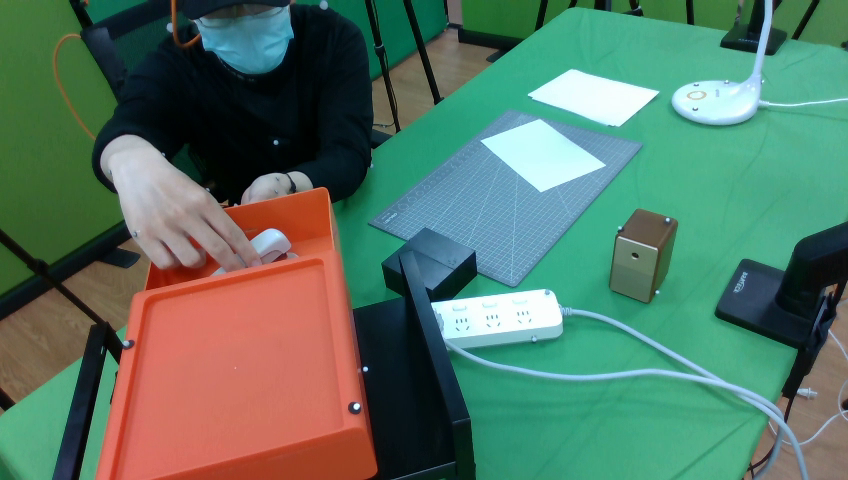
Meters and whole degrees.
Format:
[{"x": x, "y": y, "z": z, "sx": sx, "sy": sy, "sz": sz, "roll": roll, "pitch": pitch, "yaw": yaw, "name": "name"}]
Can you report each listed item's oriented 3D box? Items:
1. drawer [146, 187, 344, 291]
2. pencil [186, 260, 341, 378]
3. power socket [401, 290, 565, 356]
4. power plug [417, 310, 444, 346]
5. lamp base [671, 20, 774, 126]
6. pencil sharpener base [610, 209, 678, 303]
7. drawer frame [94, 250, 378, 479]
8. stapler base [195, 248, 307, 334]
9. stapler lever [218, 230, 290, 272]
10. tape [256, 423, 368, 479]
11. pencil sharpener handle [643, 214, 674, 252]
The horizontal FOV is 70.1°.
[{"x": -0.181, "y": 0.048, "z": 0.624, "sx": 0.195, "sy": 0.073, "sz": 0.210, "roll": -12, "pitch": 41, "yaw": -6, "name": "drawer"}, {"x": -0.158, "y": 0.075, "z": 0.621, "sx": 0.012, "sy": 0.012, "sz": 0.194, "roll": 29, "pitch": 54, "yaw": 35, "name": "pencil"}, {"x": 0.080, "y": 0.112, "z": 0.822, "sx": 0.227, "sy": 0.033, "sz": 0.072, "roll": -6, "pitch": 41, "yaw": 0, "name": "power socket"}, {"x": 0.006, "y": 0.122, "z": 0.785, "sx": 0.035, "sy": 0.053, "sz": 0.072, "roll": 0, "pitch": 40, "yaw": 9, "name": "power plug"}, {"x": 0.581, "y": -0.332, "z": 1.154, "sx": 0.179, "sy": 0.181, "sz": 0.160, "roll": 2, "pitch": 41, "yaw": 7, "name": "lamp base"}, {"x": 0.304, "y": 0.021, "z": 0.839, "sx": 0.061, "sy": 0.107, "sz": 0.077, "roll": 21, "pitch": 48, "yaw": 30, "name": "pencil sharpener base"}, {"x": -0.156, "y": 0.119, "z": 0.532, "sx": 0.202, "sy": 0.083, "sz": 0.212, "roll": -13, "pitch": 41, "yaw": -7, "name": "drawer frame"}, {"x": -0.191, "y": 0.047, "z": 0.659, "sx": 0.131, "sy": 0.024, "sz": 0.041, "roll": -37, "pitch": 46, "yaw": -17, "name": "stapler base"}, {"x": -0.196, "y": 0.033, "z": 0.642, "sx": 0.118, "sy": 0.040, "sz": 0.026, "roll": -35, "pitch": 45, "yaw": -19, "name": "stapler lever"}, {"x": -0.121, "y": 0.263, "z": 0.660, "sx": 0.117, "sy": 0.053, "sz": 0.116, "roll": -5, "pitch": 39, "yaw": 4, "name": "tape"}, {"x": 0.337, "y": -0.016, "z": 0.857, "sx": 0.035, "sy": 0.068, "sz": 0.031, "roll": 1, "pitch": 35, "yaw": 44, "name": "pencil sharpener handle"}]
